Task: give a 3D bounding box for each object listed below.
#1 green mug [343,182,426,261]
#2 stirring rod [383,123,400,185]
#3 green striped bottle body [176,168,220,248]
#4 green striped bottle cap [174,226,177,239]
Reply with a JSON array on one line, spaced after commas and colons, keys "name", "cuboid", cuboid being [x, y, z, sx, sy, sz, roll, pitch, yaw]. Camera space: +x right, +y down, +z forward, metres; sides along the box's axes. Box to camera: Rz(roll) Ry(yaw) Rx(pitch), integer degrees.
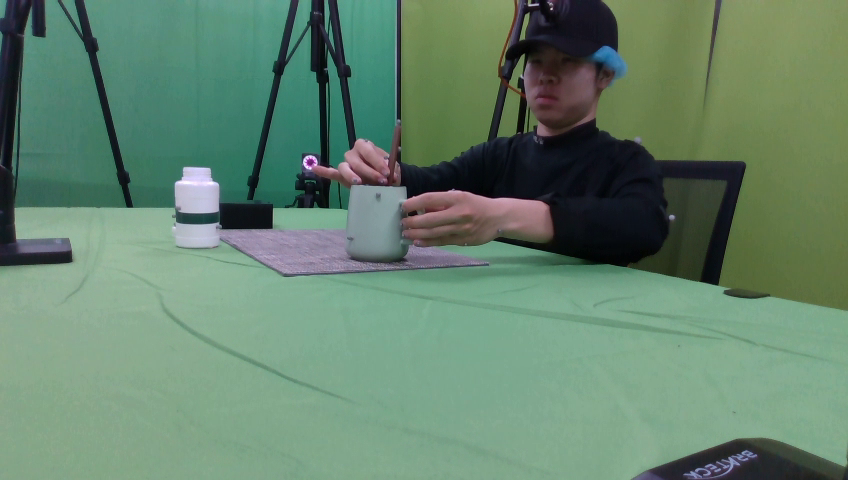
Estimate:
[{"name": "green mug", "cuboid": [-0.053, -0.026, 0.848, 0.125, 0.105, 0.093, 6, 8, 29]}, {"name": "stirring rod", "cuboid": [-0.052, -0.076, 0.843, 0.006, 0.176, 0.014, 6, 5, -42]}, {"name": "green striped bottle body", "cuboid": [-0.345, -0.050, 0.924, 0.063, 0.119, 0.063, 2, 7, 0]}, {"name": "green striped bottle cap", "cuboid": [-0.404, -0.015, 1.036, 0.044, 0.020, 0.044, -1, 9, 1]}]
